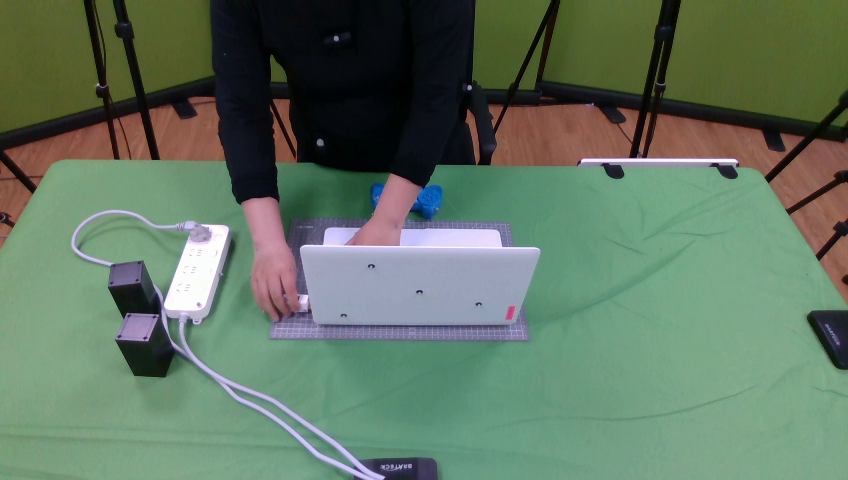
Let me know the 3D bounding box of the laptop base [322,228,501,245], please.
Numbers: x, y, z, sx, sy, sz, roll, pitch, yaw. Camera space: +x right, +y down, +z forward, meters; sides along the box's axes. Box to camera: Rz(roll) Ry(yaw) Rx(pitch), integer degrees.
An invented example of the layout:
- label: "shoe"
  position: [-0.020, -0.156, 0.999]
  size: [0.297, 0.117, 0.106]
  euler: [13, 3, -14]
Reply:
- label: "laptop base"
  position: [-0.020, 0.065, 1.135]
  size: [0.355, 0.023, 0.234]
  euler: [1, 43, -4]

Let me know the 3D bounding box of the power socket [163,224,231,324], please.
- label: "power socket"
  position: [-0.410, 0.053, 1.105]
  size: [0.072, 0.033, 0.225]
  euler: [3, 46, -3]

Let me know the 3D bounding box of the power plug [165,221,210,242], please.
- label: "power plug"
  position: [-0.441, -0.014, 1.142]
  size: [0.072, 0.053, 0.035]
  euler: [7, 46, 7]

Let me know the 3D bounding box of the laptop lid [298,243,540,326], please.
- label: "laptop lid"
  position: [-0.010, 0.078, 0.956]
  size: [0.357, 0.243, 0.013]
  euler: [1, 53, -5]

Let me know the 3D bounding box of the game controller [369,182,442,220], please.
- label: "game controller"
  position: [-0.039, -0.090, 1.266]
  size: [0.155, 0.052, 0.096]
  euler: [1, 50, -2]

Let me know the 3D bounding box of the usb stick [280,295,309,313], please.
- label: "usb stick"
  position: [-0.219, 0.113, 1.062]
  size: [0.059, 0.027, 0.021]
  euler: [2, 37, 15]
